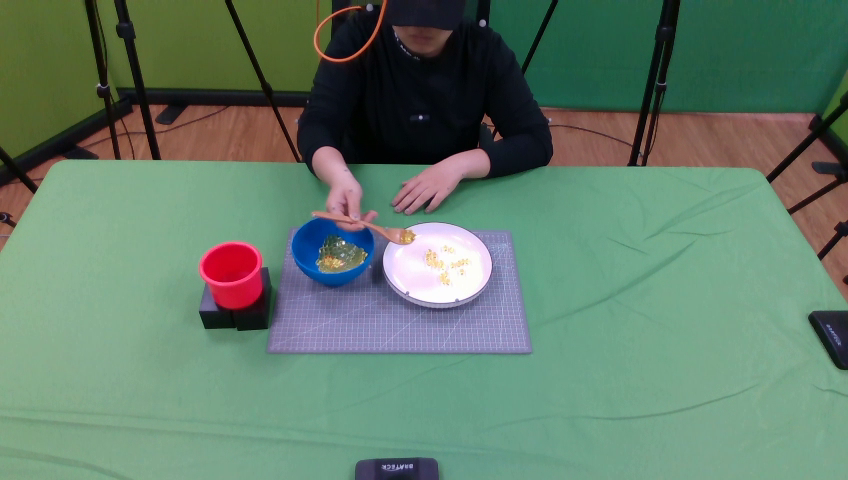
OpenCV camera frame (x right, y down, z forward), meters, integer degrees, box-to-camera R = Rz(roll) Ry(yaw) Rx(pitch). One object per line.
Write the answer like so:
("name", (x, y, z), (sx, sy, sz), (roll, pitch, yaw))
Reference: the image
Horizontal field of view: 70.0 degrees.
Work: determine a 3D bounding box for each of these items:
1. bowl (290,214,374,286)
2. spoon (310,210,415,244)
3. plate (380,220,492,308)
("bowl", (-0.166, 0.031, 1.113), (0.151, 0.077, 0.150), (2, 46, -2))
("spoon", (-0.105, -0.027, 1.063), (0.194, 0.022, 0.041), (17, 42, -24))
("plate", (0.022, 0.048, 1.137), (0.208, 0.039, 0.206), (2, 46, -2))
